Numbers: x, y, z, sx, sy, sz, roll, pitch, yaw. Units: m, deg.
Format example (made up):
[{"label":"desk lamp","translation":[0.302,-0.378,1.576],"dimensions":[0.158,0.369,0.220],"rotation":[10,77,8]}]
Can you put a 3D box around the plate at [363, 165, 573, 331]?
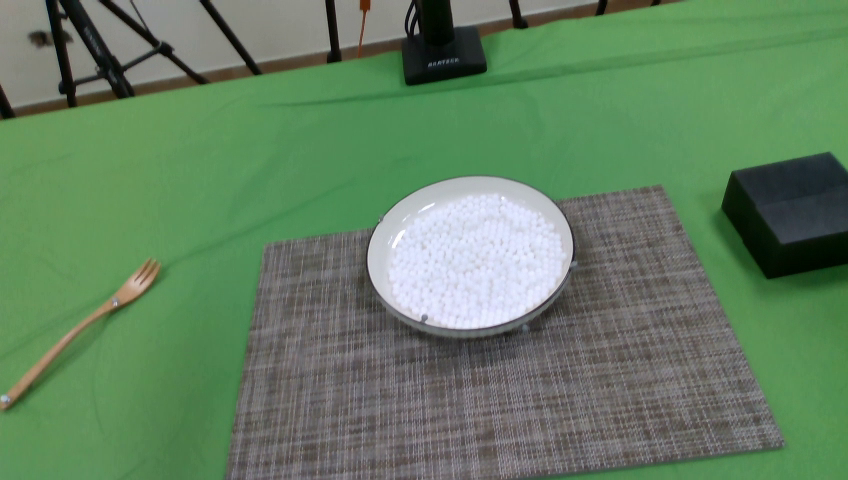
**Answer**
[{"label":"plate","translation":[0.043,0.006,0.611],"dimensions":[0.209,0.038,0.207],"rotation":[-6,49,7]}]

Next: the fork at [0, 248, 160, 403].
[{"label":"fork","translation":[-0.358,0.085,0.637],"dimensions":[0.028,0.019,0.206],"rotation":[28,57,18]}]
